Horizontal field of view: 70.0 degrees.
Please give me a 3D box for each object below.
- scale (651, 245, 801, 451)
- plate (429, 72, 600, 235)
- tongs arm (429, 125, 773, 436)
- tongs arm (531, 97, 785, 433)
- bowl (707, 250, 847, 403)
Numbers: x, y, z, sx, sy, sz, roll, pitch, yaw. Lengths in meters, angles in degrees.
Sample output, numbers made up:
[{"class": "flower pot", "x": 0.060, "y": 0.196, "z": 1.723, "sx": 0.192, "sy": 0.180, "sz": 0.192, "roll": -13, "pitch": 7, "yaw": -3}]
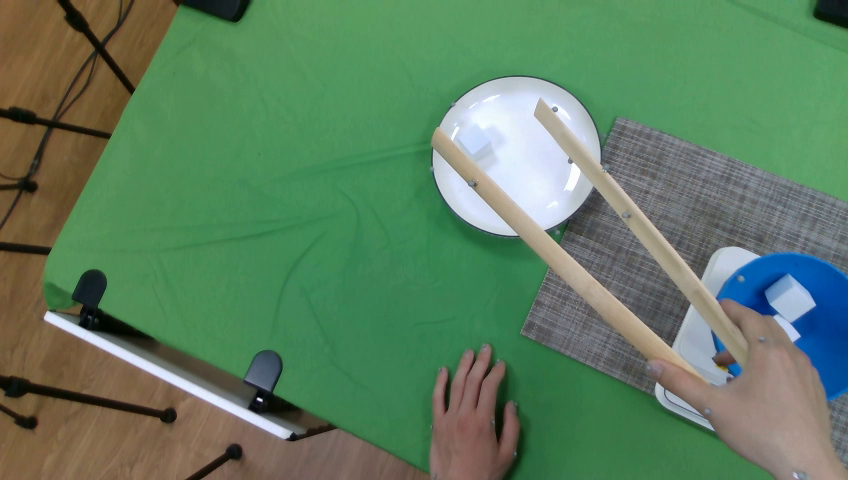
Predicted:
[{"class": "scale", "x": 0.360, "y": 0.118, "z": 0.679, "sx": 0.148, "sy": 0.032, "sz": 0.200, "roll": 25, "pitch": 84, "yaw": 12}, {"class": "plate", "x": 0.111, "y": -0.105, "z": 0.755, "sx": 0.207, "sy": 0.039, "sz": 0.206, "roll": -1, "pitch": 79, "yaw": 7}, {"class": "tongs arm", "x": 0.131, "y": 0.022, "z": 0.534, "sx": 0.028, "sy": 0.028, "sz": 0.384, "roll": -27, "pitch": 62, "yaw": -36}, {"class": "tongs arm", "x": 0.194, "y": -0.002, "z": 0.569, "sx": 0.051, "sy": 0.027, "sz": 0.381, "roll": -17, "pitch": 58, "yaw": -27}, {"class": "bowl", "x": 0.362, "y": 0.090, "z": 0.630, "sx": 0.151, "sy": 0.077, "sz": 0.151, "roll": -1, "pitch": 80, "yaw": 6}]
